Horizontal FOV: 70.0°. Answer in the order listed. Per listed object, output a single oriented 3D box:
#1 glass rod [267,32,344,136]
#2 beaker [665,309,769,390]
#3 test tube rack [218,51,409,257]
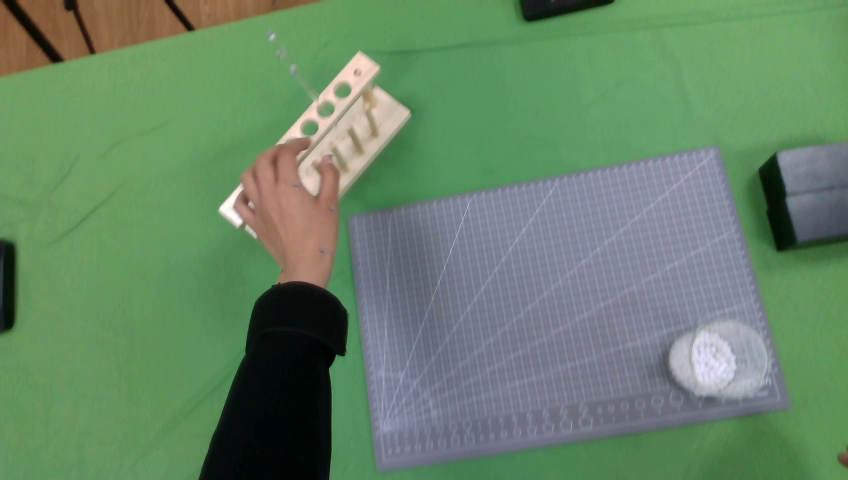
[{"bbox_3d":[-0.127,-0.166,0.674,0.008,0.201,0.008,-4,70,12],"label":"glass rod"},{"bbox_3d":[0.289,0.117,0.615,0.073,0.101,0.084,42,86,15],"label":"beaker"},{"bbox_3d":[-0.126,-0.100,0.727,0.066,0.086,0.242,39,84,15],"label":"test tube rack"}]
